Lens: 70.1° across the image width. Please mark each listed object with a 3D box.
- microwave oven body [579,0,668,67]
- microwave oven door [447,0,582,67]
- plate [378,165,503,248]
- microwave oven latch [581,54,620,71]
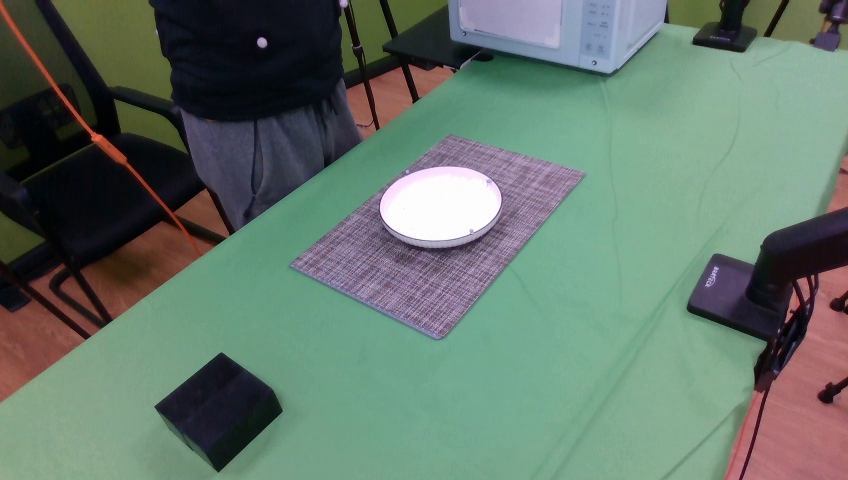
[{"bbox_3d":[0.325,-0.609,1.437,0.438,0.261,0.327,23,49,30],"label":"microwave oven body"},{"bbox_3d":[0.203,-0.544,1.372,0.353,0.245,0.039,23,49,29],"label":"microwave oven door"},{"bbox_3d":[0.029,-0.053,1.008,0.209,0.038,0.208,-3,41,3],"label":"plate"},{"bbox_3d":[0.386,-0.394,1.329,0.078,0.029,0.030,24,51,32],"label":"microwave oven latch"}]
